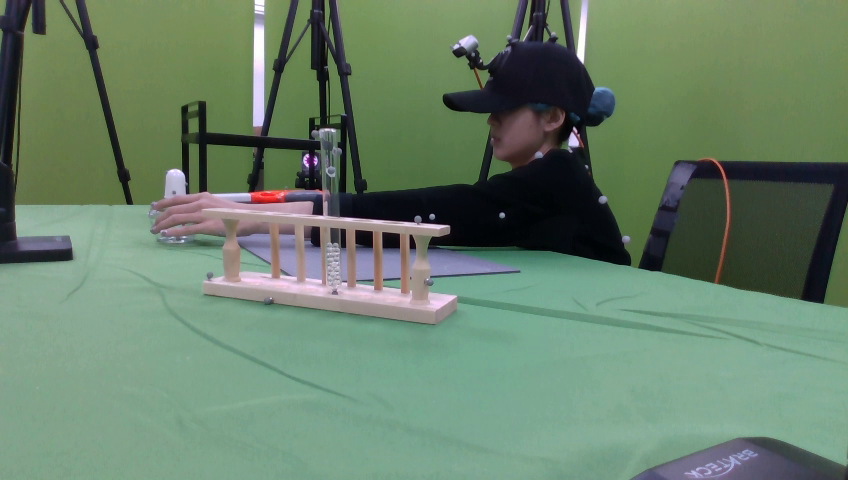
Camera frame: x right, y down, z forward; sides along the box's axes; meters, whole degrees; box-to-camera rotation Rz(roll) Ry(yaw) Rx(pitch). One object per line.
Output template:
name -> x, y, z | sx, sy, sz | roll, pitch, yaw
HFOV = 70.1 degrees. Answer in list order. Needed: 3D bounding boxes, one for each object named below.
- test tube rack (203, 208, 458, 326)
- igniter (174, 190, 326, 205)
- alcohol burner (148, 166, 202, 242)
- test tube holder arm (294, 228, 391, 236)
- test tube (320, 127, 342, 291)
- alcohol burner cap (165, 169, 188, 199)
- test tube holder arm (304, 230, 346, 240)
test tube rack -> -0.090, 0.019, 0.579 | 0.241, 0.085, 0.067 | 5, 7, 19
igniter -> -0.317, -0.079, 1.131 | 0.278, 0.025, 0.057 | -4, 12, -32
alcohol burner -> -0.389, -0.056, 0.948 | 0.078, 0.119, 0.078 | 5, 7, 0
test tube holder arm -> -0.138, -0.013, 1.054 | 0.179, 0.015, 0.013 | -1, 43, -32
test tube -> -0.085, -0.027, 0.554 | 0.017, 0.150, 0.017 | -1, 6, 0
alcohol burner cap -> -0.386, -0.087, 0.943 | 0.034, 0.048, 0.034 | 3, 7, 0
test tube holder arm -> -0.175, -0.009, 1.027 | 0.088, 0.015, 0.010 | -1, 43, -32
